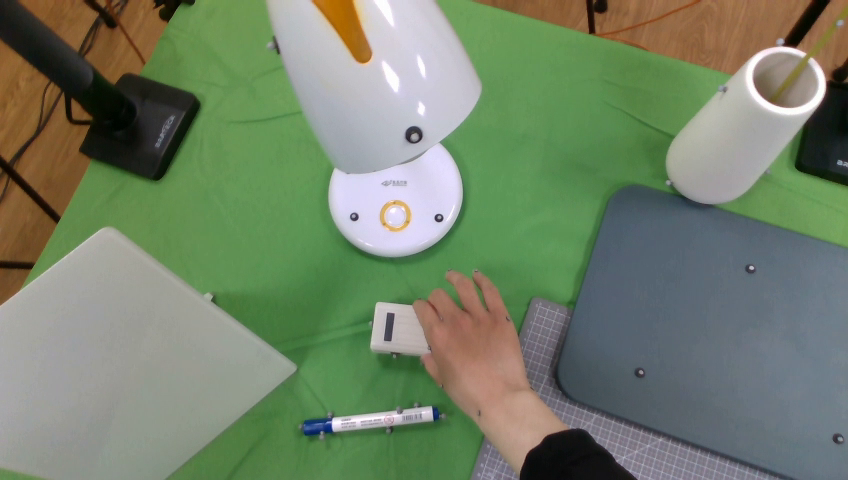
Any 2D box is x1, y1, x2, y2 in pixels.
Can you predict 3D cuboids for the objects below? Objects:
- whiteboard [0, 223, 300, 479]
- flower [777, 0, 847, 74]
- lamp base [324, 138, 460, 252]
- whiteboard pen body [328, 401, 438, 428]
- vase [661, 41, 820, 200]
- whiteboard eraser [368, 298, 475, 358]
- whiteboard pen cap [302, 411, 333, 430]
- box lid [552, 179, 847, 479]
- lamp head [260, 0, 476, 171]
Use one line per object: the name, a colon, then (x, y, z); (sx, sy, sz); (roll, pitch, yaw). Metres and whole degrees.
whiteboard: (-0.300, 0.093, 0.575); (0.217, 0.309, 0.142); (-38, 55, -7)
flower: (0.322, -0.151, 0.543); (0.038, 0.364, 0.043); (-24, 67, -20)
lamp base: (-0.046, -0.096, 0.646); (0.160, 0.181, 0.178); (-11, 71, 1)
whiteboard pen body: (-0.055, 0.188, 0.649); (0.141, 0.017, 0.017); (-7, 73, 2)
vase: (0.317, -0.115, 0.619); (0.098, 0.201, 0.097); (-1, 73, 3)
whiteboard eraser: (-0.003, 0.095, 0.659); (0.112, 0.042, 0.055); (5, 75, 5)
whiteboard pen cap: (-0.113, 0.193, 0.651); (0.033, 0.018, 0.018); (-8, 73, 5)
box lid: (0.348, 0.097, 0.653); (0.370, 0.015, 0.262); (18, 76, 9)
lamp head: (-0.041, -0.123, 0.366); (0.112, 0.124, 0.111); (-22, 32, 15)
